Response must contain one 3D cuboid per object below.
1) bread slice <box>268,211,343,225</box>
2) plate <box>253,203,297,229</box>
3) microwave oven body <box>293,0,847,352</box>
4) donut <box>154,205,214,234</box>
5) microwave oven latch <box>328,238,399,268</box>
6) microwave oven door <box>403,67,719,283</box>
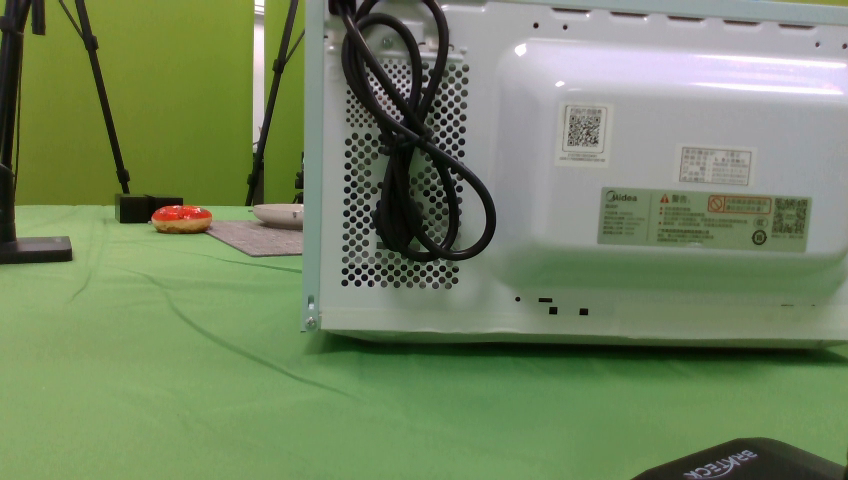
[{"bbox_3d":[-0.244,-0.046,1.220,0.104,0.019,0.132,7,8,36],"label":"bread slice"},{"bbox_3d":[-0.238,-0.048,1.226,0.208,0.039,0.207,3,7,0],"label":"plate"},{"bbox_3d":[0.122,-0.055,0.550,0.442,0.260,0.325,3,7,-5],"label":"microwave oven body"},{"bbox_3d":[-0.426,-0.037,1.075,0.099,0.048,0.099,2,12,0],"label":"donut"},{"bbox_3d":[-0.069,0.015,0.694,0.079,0.029,0.030,3,7,-3],"label":"microwave oven latch"},{"bbox_3d":[0.157,-0.081,0.733,0.355,0.243,0.039,4,8,8],"label":"microwave oven door"}]
